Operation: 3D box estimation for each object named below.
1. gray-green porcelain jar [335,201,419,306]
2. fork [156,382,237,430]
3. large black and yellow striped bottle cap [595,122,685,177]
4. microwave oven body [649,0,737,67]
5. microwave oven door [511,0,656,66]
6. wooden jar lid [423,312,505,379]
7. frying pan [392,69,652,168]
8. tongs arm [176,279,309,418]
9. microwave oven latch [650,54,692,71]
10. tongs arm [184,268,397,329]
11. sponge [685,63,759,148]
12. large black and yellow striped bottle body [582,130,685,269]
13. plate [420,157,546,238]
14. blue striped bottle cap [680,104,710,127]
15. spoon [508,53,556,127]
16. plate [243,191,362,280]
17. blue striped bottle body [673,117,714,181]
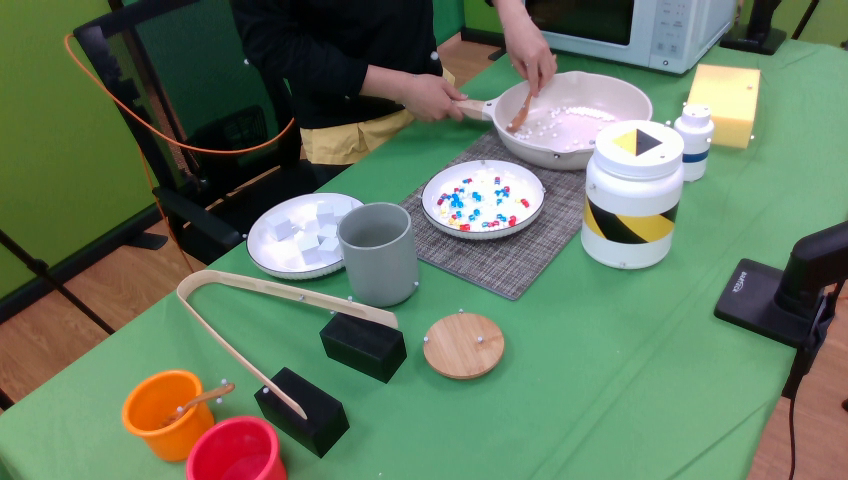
[{"bbox_3d":[-0.064,0.024,0.872,0.106,0.127,0.105,-4,41,4],"label":"gray-green porcelain jar"},{"bbox_3d":[-0.262,0.189,0.690,0.018,0.206,0.028,49,43,-7],"label":"fork"},{"bbox_3d":[0.293,-0.126,0.821,0.115,0.019,0.114,-5,40,5],"label":"large black and yellow striped bottle cap"},{"bbox_3d":[0.475,-0.602,1.411,0.438,0.261,0.327,23,50,32],"label":"microwave oven body"},{"bbox_3d":[0.351,-0.540,1.350,0.353,0.245,0.039,24,50,31],"label":"microwave oven door"},{"bbox_3d":[0.053,0.142,0.800,0.108,0.021,0.108,-5,39,4],"label":"wooden jar lid"},{"bbox_3d":[0.175,-0.248,1.165,0.487,0.103,0.306,12,43,9],"label":"frying pan"},{"bbox_3d":[-0.254,0.132,0.801,0.028,0.028,0.384,-41,40,-23],"label":"tongs arm"},{"bbox_3d":[0.531,-0.386,1.301,0.078,0.029,0.030,25,51,32],"label":"microwave oven latch"},{"bbox_3d":[-0.202,0.084,0.848,0.382,0.027,0.051,11,45,35],"label":"tongs arm"},{"bbox_3d":[0.569,-0.263,1.164,0.117,0.061,0.207,12,45,22],"label":"sponge"},{"bbox_3d":[0.301,-0.063,0.877,0.131,0.185,0.130,-4,41,4],"label":"large black and yellow striped bottle body"},{"bbox_3d":[0.099,-0.067,1.017,0.209,0.038,0.208,-4,40,4],"label":"plate"},{"bbox_3d":[0.443,-0.205,0.989,0.044,0.021,0.044,-1,41,2],"label":"blue striped bottle cap"},{"bbox_3d":[0.219,-0.301,1.207,0.041,0.022,0.193,4,63,63],"label":"spoon"},{"bbox_3d":[-0.187,-0.005,0.992,0.207,0.039,0.206,-4,41,4],"label":"plate"},{"bbox_3d":[0.449,-0.165,1.022,0.063,0.121,0.063,-5,41,4],"label":"blue striped bottle body"}]
